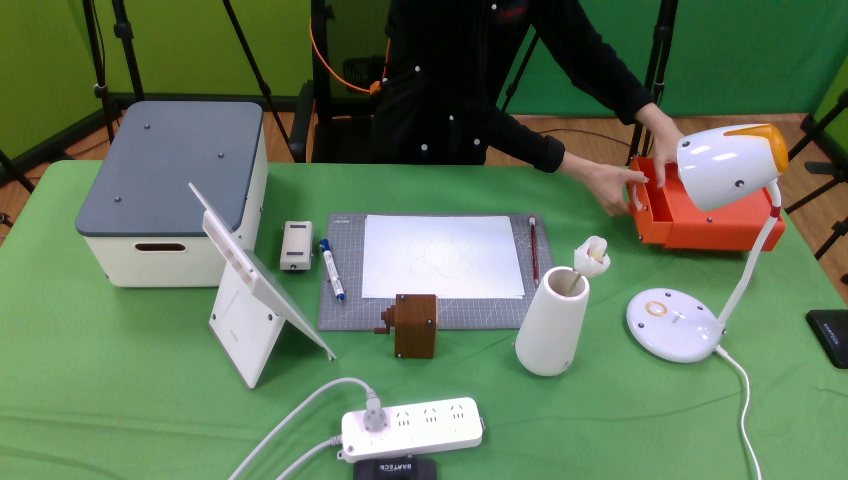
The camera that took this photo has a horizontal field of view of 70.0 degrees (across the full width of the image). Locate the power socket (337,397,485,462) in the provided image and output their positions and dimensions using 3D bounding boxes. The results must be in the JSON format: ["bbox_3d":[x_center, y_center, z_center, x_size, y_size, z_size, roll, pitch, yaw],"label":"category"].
[{"bbox_3d":[-0.018,0.285,0.915,0.227,0.033,0.071,-5,46,-8],"label":"power socket"}]

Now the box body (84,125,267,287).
[{"bbox_3d":[-0.446,-0.088,1.150,0.254,0.161,0.361,-1,46,-5],"label":"box body"}]

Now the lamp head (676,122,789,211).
[{"bbox_3d":[0.423,-0.104,0.819,0.122,0.113,0.112,-13,33,40],"label":"lamp head"}]

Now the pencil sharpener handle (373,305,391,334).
[{"bbox_3d":[-0.069,0.133,0.989,0.030,0.068,0.036,1,47,-2],"label":"pencil sharpener handle"}]

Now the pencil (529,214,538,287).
[{"bbox_3d":[0.219,0.019,1.202,0.012,0.012,0.193,5,47,0],"label":"pencil"}]

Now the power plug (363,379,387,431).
[{"bbox_3d":[-0.072,0.252,0.910,0.035,0.053,0.072,3,44,-1],"label":"power plug"}]

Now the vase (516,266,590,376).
[{"bbox_3d":[0.208,0.132,0.964,0.098,0.201,0.097,3,46,-3],"label":"vase"}]

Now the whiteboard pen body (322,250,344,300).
[{"bbox_3d":[-0.173,0.056,1.127,0.017,0.017,0.140,-12,49,-16],"label":"whiteboard pen body"}]

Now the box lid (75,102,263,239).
[{"bbox_3d":[-0.443,-0.138,1.094,0.263,0.015,0.369,-1,47,-5],"label":"box lid"}]

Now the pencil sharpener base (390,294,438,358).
[{"bbox_3d":[-0.018,0.143,1.000,0.077,0.107,0.061,1,46,-2],"label":"pencil sharpener base"}]

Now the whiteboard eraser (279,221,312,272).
[{"bbox_3d":[-0.244,0.012,1.154,0.055,0.042,0.112,-2,46,-4],"label":"whiteboard eraser"}]

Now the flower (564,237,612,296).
[{"bbox_3d":[0.206,0.088,0.893,0.038,0.363,0.044,-16,67,-9],"label":"flower"}]

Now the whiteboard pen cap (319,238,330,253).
[{"bbox_3d":[-0.191,0.013,1.163,0.018,0.018,0.033,-13,49,-16],"label":"whiteboard pen cap"}]

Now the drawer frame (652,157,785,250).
[{"bbox_3d":[0.567,-0.076,1.214,0.213,0.083,0.200,2,45,1],"label":"drawer frame"}]

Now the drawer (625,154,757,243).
[{"bbox_3d":[0.525,-0.081,1.209,0.212,0.073,0.193,4,46,0],"label":"drawer"}]

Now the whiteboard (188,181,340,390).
[{"bbox_3d":[-0.292,0.096,0.929,0.144,0.307,0.216,-38,57,-10],"label":"whiteboard"}]

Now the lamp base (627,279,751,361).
[{"bbox_3d":[0.460,0.100,1.027,0.178,0.181,0.160,27,51,17],"label":"lamp base"}]
